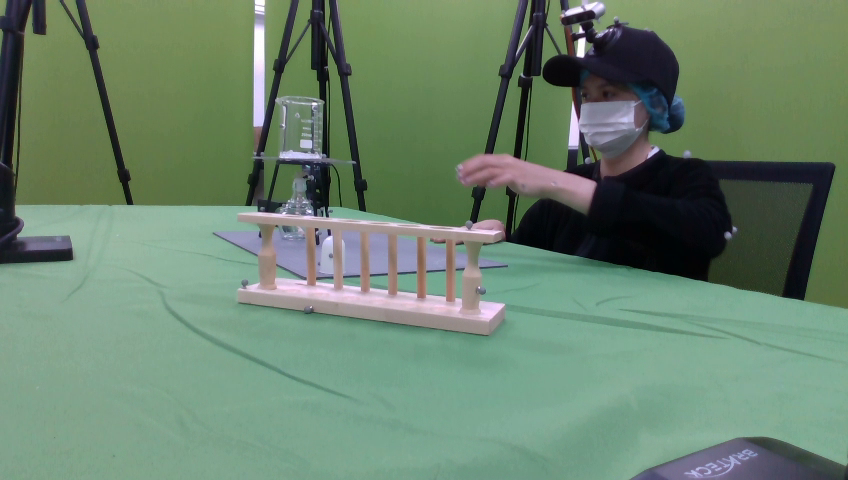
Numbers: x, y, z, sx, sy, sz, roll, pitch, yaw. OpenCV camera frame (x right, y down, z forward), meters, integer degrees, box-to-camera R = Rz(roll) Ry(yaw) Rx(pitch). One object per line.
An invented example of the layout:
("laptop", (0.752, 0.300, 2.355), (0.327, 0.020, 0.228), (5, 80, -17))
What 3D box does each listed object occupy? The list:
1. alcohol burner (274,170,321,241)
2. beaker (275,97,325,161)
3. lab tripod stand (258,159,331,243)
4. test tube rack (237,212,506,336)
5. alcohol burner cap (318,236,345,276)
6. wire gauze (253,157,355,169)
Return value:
("alcohol burner", (-0.212, -0.058, 1.015), (0.078, 0.119, 0.078), (4, 5, 0))
("beaker", (-0.204, -0.179, 0.989), (0.084, 0.100, 0.073), (-2, 8, -40))
("lab tripod stand", (-0.202, -0.067, 1.010), (0.148, 0.131, 0.148), (2, 5, 0))
("test tube rack", (-0.049, 0.024, 0.552), (0.242, 0.085, 0.067), (5, 8, 18))
("alcohol burner cap", (-0.110, 0.019, 0.723), (0.034, 0.048, 0.034), (2, 6, 0))
("wire gauze", (-0.197, -0.131, 0.999), (0.121, 0.011, 0.125), (7, 5, 21))
